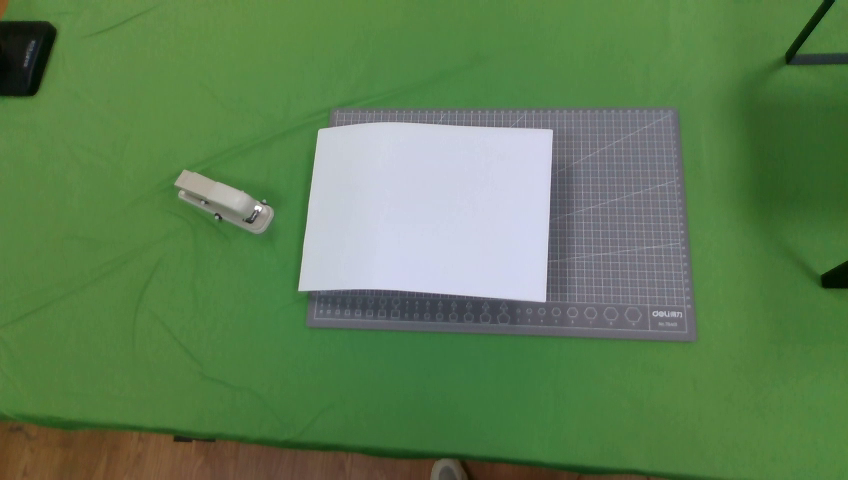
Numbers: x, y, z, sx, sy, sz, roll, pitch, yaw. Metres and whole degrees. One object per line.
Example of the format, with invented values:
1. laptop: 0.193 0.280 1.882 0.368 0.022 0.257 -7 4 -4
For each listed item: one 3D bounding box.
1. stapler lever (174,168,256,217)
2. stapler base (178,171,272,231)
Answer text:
1. stapler lever: -0.262 -0.061 0.754 0.117 0.040 0.026 24 74 13
2. stapler base: -0.258 -0.053 0.776 0.130 0.024 0.041 23 74 14
